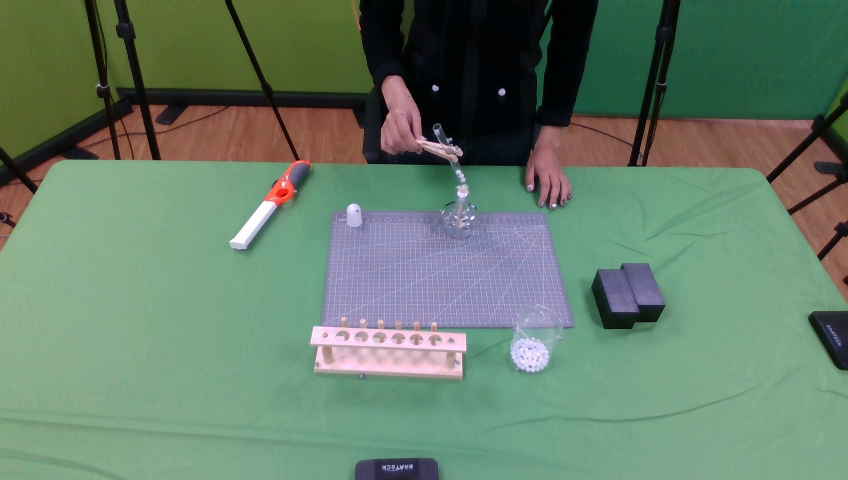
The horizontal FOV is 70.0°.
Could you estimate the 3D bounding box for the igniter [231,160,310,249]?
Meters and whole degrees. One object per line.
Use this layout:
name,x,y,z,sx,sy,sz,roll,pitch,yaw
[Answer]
igniter,-0.311,-0.081,1.250,0.057,0.025,0.275,9,45,18

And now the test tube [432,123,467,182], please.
test tube,0.048,-0.153,1.083,0.017,0.151,0.017,-13,53,17

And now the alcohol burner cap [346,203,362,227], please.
alcohol burner cap,-0.141,-0.053,1.222,0.034,0.048,0.033,2,47,-2

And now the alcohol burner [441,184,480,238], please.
alcohol burner,0.073,-0.061,1.195,0.078,0.120,0.077,1,47,-1

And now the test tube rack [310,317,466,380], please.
test tube rack,-0.056,0.171,0.986,0.242,0.085,0.066,3,45,-1

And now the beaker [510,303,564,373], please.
beaker,0.182,0.164,1.000,0.074,0.101,0.083,2,46,-1

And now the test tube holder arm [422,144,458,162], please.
test tube holder arm,0.028,-0.160,1.094,0.010,0.015,0.087,-48,46,-11

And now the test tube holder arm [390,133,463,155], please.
test tube holder arm,0.001,-0.179,1.124,0.177,0.015,0.013,22,68,40
